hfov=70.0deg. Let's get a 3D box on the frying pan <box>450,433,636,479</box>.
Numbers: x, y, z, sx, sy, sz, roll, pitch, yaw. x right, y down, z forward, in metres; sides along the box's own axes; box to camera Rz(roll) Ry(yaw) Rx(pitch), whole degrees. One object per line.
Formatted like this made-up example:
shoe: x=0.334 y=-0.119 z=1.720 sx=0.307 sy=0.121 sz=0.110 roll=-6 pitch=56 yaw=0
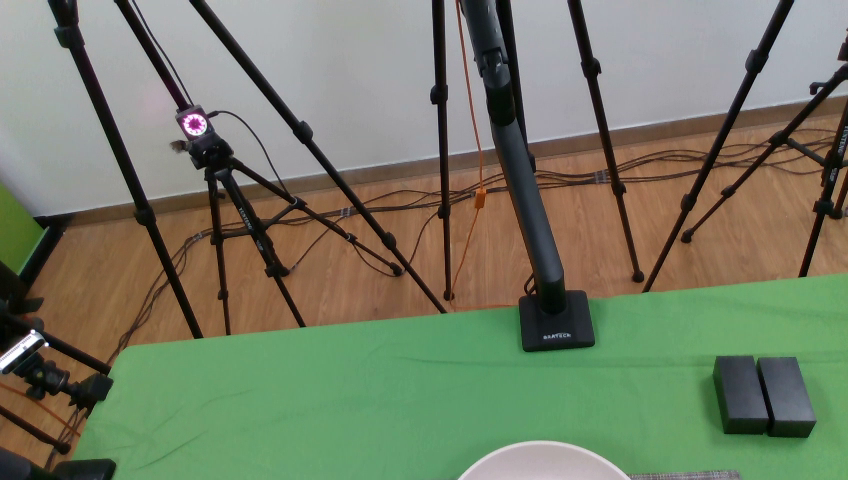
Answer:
frying pan: x=0.140 y=0.461 z=0.693 sx=0.306 sy=0.104 sz=0.483 roll=-5 pitch=38 yaw=14
